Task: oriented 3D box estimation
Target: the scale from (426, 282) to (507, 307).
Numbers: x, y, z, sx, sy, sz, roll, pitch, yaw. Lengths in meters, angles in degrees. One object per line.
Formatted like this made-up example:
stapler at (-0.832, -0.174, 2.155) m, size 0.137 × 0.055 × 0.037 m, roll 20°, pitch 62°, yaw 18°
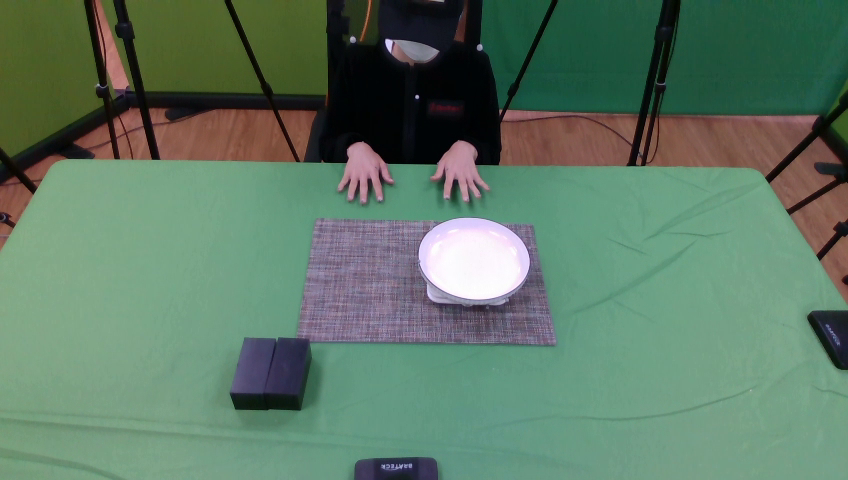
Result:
scale at (0.078, 0.043, 1.152) m, size 0.149 × 0.032 × 0.199 m, roll 3°, pitch 45°, yaw -2°

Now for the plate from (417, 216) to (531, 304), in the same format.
plate at (0.089, 0.039, 1.110) m, size 0.208 × 0.039 × 0.206 m, roll 2°, pitch 46°, yaw -1°
